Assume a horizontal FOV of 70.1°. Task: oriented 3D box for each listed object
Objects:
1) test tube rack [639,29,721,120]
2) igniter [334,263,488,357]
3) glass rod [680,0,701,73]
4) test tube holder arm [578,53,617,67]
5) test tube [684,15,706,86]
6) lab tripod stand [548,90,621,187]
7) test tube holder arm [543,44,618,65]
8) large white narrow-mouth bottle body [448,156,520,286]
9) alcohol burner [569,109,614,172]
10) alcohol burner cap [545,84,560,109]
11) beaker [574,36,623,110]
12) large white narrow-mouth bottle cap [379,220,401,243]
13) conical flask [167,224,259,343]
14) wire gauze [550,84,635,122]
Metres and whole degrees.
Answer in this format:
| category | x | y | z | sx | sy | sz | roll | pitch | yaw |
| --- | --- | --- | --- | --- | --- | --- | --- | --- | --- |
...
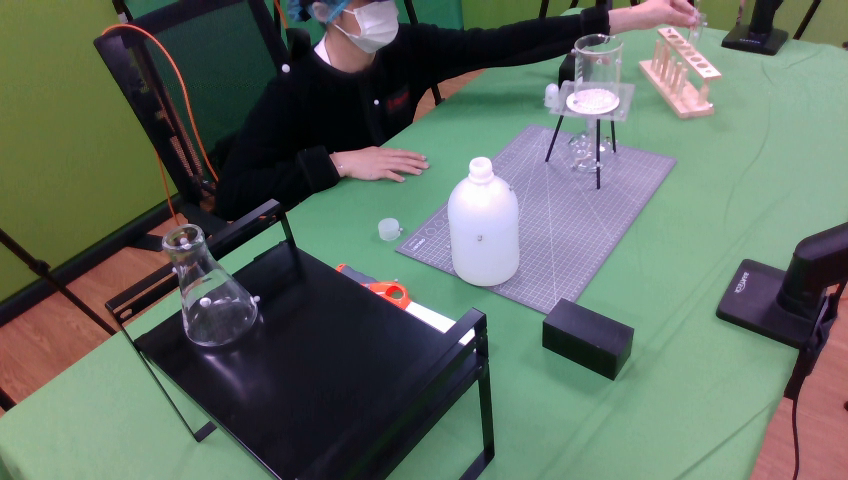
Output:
| category | x | y | z | sx | sy | sz | roll | pitch | yaw |
| --- | --- | --- | --- | --- | --- | --- | --- | --- | --- |
| test tube rack | 0.527 | -0.351 | 1.262 | 0.067 | 0.085 | 0.241 | -7 | 40 | 1 |
| igniter | -0.030 | 0.095 | 0.872 | 0.274 | 0.025 | 0.057 | 23 | 59 | 31 |
| glass rod | 0.541 | -0.417 | 1.233 | 0.008 | 0.200 | 0.008 | 0 | 39 | 0 |
| test tube holder arm | 0.376 | -0.393 | 1.314 | 0.087 | 0.015 | 0.010 | 25 | 49 | 32 |
| test tube | 0.540 | -0.378 | 1.215 | 0.017 | 0.151 | 0.017 | -2 | 44 | 3 |
| lab tripod stand | 0.289 | -0.184 | 1.062 | 0.148 | 0.132 | 0.147 | -6 | 41 | 6 |
| test tube holder arm | 0.344 | -0.412 | 1.340 | 0.177 | 0.015 | 0.013 | 24 | 49 | 31 |
| large white narrow-mouth bottle body | 0.086 | -0.032 | 0.869 | 0.102 | 0.195 | 0.101 | -4 | 40 | 4 |
| alcohol burner | 0.298 | -0.181 | 1.073 | 0.078 | 0.119 | 0.077 | -5 | 43 | 5 |
| alcohol burner cap | 0.274 | -0.307 | 1.286 | 0.034 | 0.048 | 0.033 | -5 | 41 | 5 |
| beaker | 0.285 | -0.273 | 0.990 | 0.073 | 0.101 | 0.084 | 15 | 46 | 27 |
| large white narrow-mouth bottle cap | -0.057 | -0.015 | 1.011 | 0.038 | 0.024 | 0.037 | -4 | 40 | 4 |
| conical flask | -0.219 | 0.041 | 0.613 | 0.075 | 0.122 | 0.075 | -5 | 40 | 4 |
| wire gauze | 0.285 | -0.234 | 1.021 | 0.124 | 0.011 | 0.121 | 8 | 41 | 24 |
